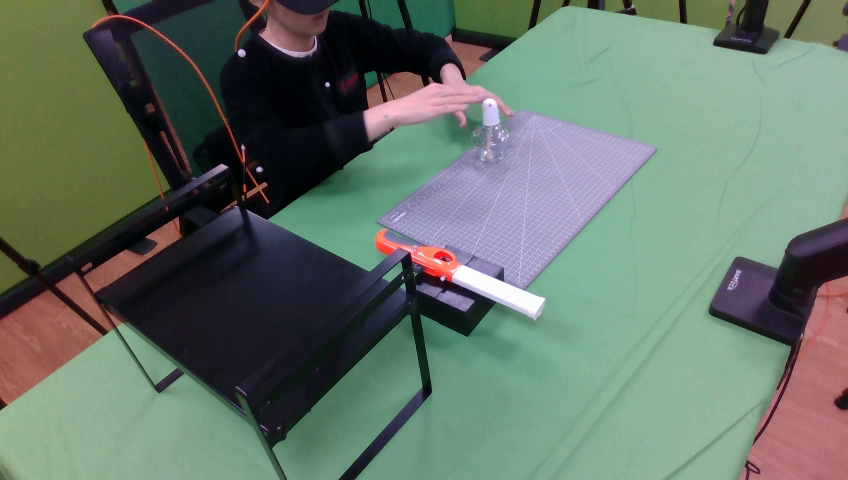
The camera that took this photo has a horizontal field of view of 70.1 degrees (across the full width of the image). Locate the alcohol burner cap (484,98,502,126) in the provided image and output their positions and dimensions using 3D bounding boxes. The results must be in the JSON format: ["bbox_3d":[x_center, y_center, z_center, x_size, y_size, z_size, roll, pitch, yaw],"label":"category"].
[{"bbox_3d":[0.124,-0.235,1.101,0.034,0.048,0.033,-7,39,6],"label":"alcohol burner cap"}]

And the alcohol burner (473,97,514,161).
[{"bbox_3d":[0.128,-0.208,1.123,0.078,0.119,0.077,-5,39,5],"label":"alcohol burner"}]

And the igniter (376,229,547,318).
[{"bbox_3d":[0.040,0.041,0.845,0.274,0.025,0.057,22,46,27],"label":"igniter"}]
